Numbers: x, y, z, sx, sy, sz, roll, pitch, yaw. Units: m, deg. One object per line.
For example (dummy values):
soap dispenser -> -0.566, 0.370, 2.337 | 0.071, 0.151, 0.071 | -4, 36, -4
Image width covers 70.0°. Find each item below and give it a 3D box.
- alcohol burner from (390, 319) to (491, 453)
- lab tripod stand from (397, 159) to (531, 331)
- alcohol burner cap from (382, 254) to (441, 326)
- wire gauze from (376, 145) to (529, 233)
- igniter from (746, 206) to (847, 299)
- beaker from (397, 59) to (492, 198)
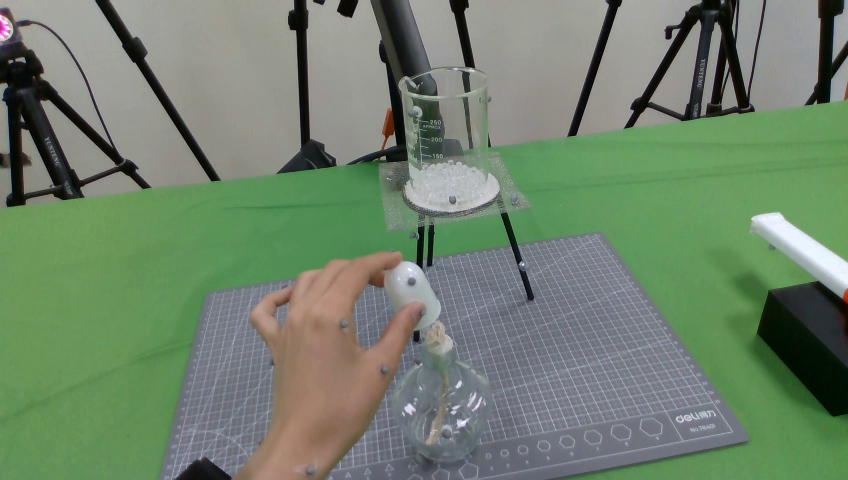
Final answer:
alcohol burner -> 0.011, 0.103, 0.452 | 0.078, 0.120, 0.077 | -3, 37, 2
lab tripod stand -> 0.030, -0.002, 0.583 | 0.148, 0.132, 0.147 | -3, 33, 2
alcohol burner cap -> -0.010, 0.030, 0.405 | 0.034, 0.048, 0.033 | -12, 39, 11
wire gauze -> 0.020, -0.053, 0.543 | 0.121, 0.011, 0.123 | -9, 37, -4
igniter -> 0.357, 0.043, 0.490 | 0.057, 0.025, 0.273 | -10, 31, -5
beaker -> 0.016, -0.094, 0.516 | 0.074, 0.101, 0.083 | -29, 41, -32
